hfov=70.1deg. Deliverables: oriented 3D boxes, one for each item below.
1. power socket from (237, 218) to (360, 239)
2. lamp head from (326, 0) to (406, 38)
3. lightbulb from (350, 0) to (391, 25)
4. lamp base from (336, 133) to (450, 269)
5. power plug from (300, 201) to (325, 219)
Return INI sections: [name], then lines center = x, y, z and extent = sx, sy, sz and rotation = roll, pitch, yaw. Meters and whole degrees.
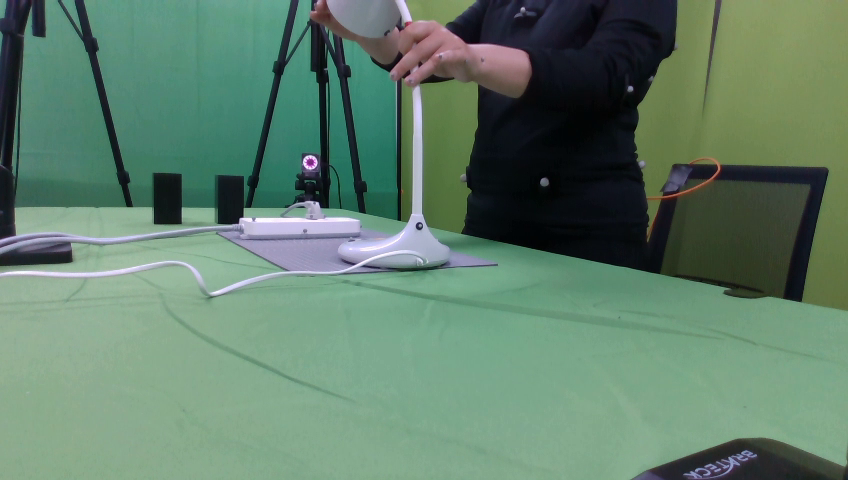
[power socket]
center = -0.220, -0.023, 1.080
extent = 0.228, 0.032, 0.072
rotation = -2, 8, -33
[lamp head]
center = -0.065, -0.356, 0.837
extent = 0.113, 0.112, 0.122
rotation = -1, -14, -28
[lightbulb]
center = -0.072, -0.354, 0.861
extent = 0.060, 0.059, 0.107
rotation = 1, -19, -17
[lamp base]
center = -0.031, -0.057, 0.829
extent = 0.161, 0.180, 0.178
rotation = -2, 12, -34
[power plug]
center = -0.207, -0.045, 1.120
extent = 0.035, 0.052, 0.072
rotation = 1, 3, -22
